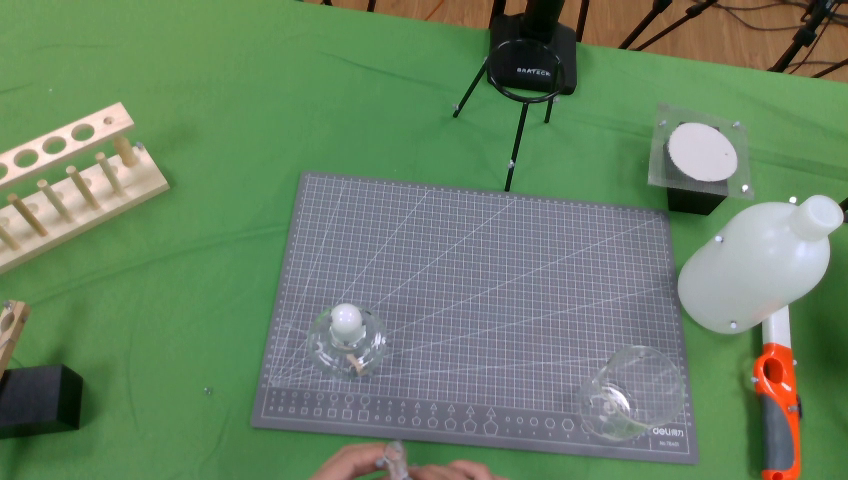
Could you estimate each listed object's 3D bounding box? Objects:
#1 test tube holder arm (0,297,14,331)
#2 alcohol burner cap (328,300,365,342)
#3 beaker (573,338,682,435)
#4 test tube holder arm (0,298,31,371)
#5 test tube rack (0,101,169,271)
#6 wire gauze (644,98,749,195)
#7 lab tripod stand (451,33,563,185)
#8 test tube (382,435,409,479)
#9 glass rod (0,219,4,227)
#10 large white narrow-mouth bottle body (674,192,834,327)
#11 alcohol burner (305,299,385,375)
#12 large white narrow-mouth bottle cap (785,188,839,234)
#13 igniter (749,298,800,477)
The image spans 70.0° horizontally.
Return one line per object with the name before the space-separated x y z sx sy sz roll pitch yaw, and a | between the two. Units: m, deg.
test tube holder arm | -0.391 0.134 0.525 0.013 0.015 0.177 8 62 -2
alcohol burner cap | -0.072 0.072 0.548 0.034 0.048 0.033 1 68 -1
beaker | 0.189 0.146 0.588 0.084 0.101 0.073 3 62 -4
test tube holder arm | -0.380 0.095 0.546 0.010 0.015 0.087 9 62 -1
test tube rack | -0.405 -0.044 0.629 0.242 0.086 0.066 -32 71 -20
wire gauze | 0.329 -0.113 0.733 0.121 0.011 0.124 13 62 1
lab tripod stand | 0.104 -0.160 0.717 0.148 0.132 0.147 3 64 -6
test tube | -0.019 0.188 0.477 0.017 0.151 0.017 -1 52 1
glass rod | -0.439 -0.073 0.565 0.008 0.201 0.008 4 53 -5
large white narrow-mouth bottle body | 0.342 0.014 0.621 0.102 0.196 0.101 2 63 -4
alcohol burner | -0.075 0.087 0.581 0.078 0.120 0.077 4 62 -6
large white narrow-mouth bottle cap | 0.349 -0.026 0.546 0.038 0.024 0.037 2 63 -4
igniter | 0.383 0.120 0.666 0.057 0.025 0.274 19 62 -10
